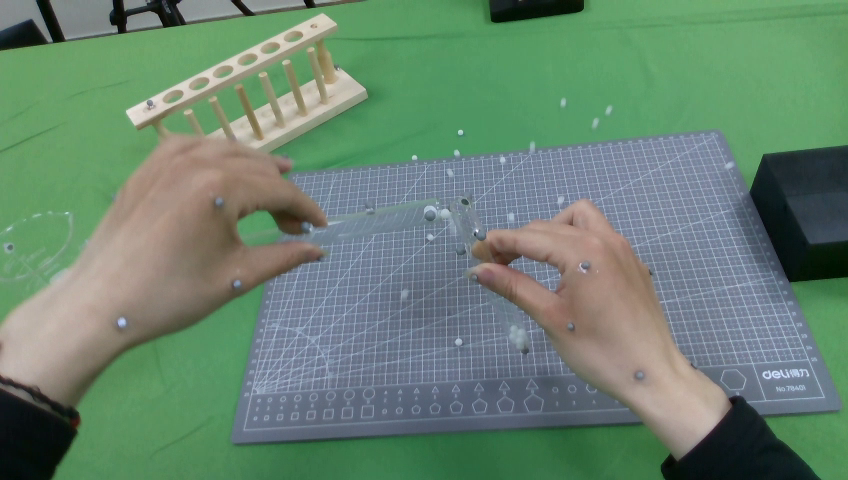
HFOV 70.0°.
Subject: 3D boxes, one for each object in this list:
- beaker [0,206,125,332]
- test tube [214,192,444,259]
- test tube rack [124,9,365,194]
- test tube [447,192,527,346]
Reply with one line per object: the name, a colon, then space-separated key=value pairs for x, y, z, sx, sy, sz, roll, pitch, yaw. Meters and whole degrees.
beaker: x=-0.323 y=0.028 z=0.542 sx=0.073 sy=0.101 sz=0.083 roll=18 pitch=56 yaw=22
test tube: x=-0.062 y=-0.008 z=0.378 sx=0.150 sy=0.017 sz=0.017 roll=-11 pitch=50 yaw=9
test tube rack: x=-0.192 y=-0.158 z=0.677 sx=0.242 sy=0.086 sz=0.066 roll=-33 pitch=54 yaw=-16
test tube: x=0.046 y=0.026 z=0.413 sx=0.017 sy=0.152 sz=0.017 roll=-15 pitch=42 yaw=14
